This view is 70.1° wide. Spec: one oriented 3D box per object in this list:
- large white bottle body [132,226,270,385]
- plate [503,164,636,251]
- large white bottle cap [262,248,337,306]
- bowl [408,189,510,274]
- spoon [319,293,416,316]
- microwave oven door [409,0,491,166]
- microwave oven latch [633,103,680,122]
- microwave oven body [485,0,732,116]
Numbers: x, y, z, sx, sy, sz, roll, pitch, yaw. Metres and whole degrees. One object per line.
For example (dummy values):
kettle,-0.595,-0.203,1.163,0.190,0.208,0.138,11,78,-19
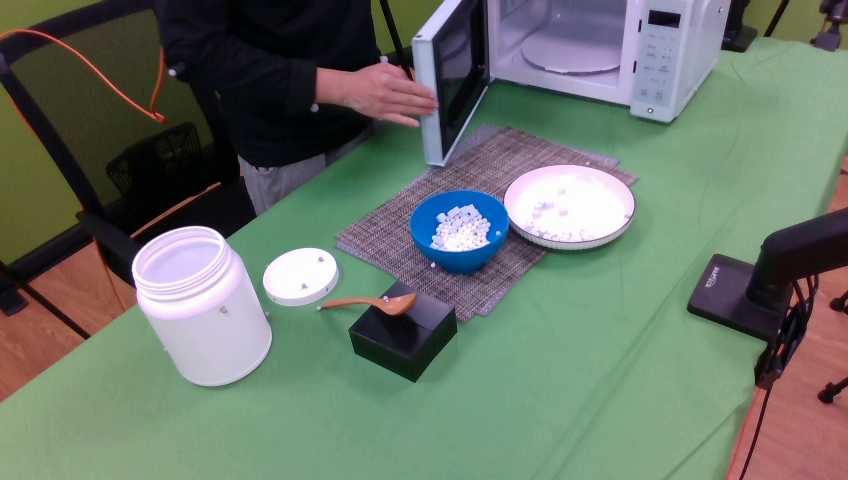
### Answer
large white bottle body,-0.286,0.085,0.783,0.130,0.185,0.130,-4,41,4
plate,0.232,-0.050,0.976,0.209,0.038,0.208,-3,41,3
large white bottle cap,-0.193,0.056,0.934,0.115,0.018,0.114,-4,41,4
bowl,0.055,-0.002,0.914,0.151,0.077,0.150,-4,40,4
spoon,-0.082,0.086,0.826,0.192,0.022,0.041,-3,36,41
microwave oven door,0.061,-0.342,1.165,0.039,0.245,0.355,9,43,19
microwave oven latch,0.444,-0.249,1.157,0.078,0.029,0.030,21,49,30
microwave oven body,0.377,-0.462,1.267,0.438,0.261,0.327,21,48,30
